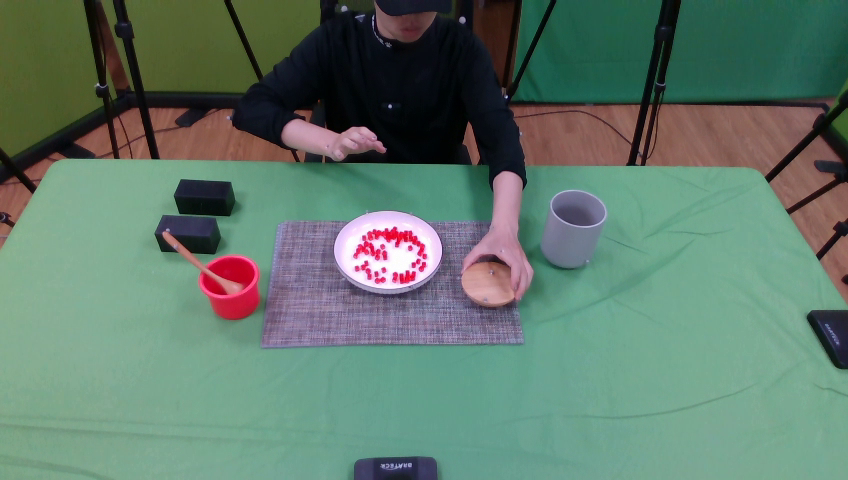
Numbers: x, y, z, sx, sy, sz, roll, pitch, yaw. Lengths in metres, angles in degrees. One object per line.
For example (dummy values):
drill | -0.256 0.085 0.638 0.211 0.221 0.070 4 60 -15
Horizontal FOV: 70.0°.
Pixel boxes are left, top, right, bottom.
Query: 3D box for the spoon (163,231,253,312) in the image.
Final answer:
spoon | -0.364 0.054 1.025 0.194 0.021 0.041 43 49 -17

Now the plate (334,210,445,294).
plate | -0.066 0.026 1.150 0.208 0.039 0.206 2 46 -2

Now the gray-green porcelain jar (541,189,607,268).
gray-green porcelain jar | 0.282 -0.017 1.161 0.106 0.127 0.105 2 46 -2

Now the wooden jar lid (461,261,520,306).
wooden jar lid | 0.120 0.081 1.100 0.108 0.021 0.107 1 42 -1
